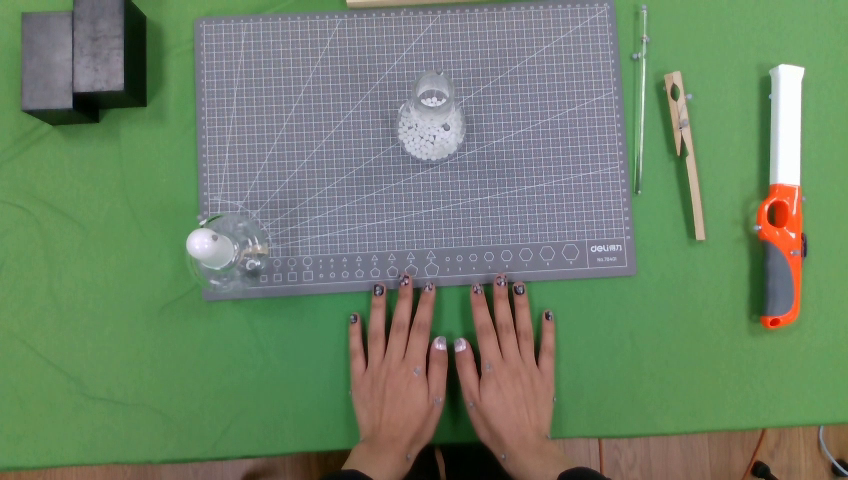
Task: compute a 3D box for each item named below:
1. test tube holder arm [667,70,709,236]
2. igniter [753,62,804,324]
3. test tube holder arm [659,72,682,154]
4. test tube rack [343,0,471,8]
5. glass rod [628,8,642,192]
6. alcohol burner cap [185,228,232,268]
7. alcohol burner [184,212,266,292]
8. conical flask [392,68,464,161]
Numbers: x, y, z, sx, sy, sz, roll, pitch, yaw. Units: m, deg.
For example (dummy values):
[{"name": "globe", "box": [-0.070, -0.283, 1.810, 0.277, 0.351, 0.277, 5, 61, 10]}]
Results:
[{"name": "test tube holder arm", "box": [0.277, -0.092, 0.638, 0.013, 0.015, 0.178, -14, 85, 34]}, {"name": "igniter", "box": [0.372, -0.050, 0.634, 0.057, 0.025, 0.276, 5, 85, -11]}, {"name": "test tube holder arm", "box": [0.264, -0.135, 0.644, 0.010, 0.015, 0.087, -13, 85, 34]}, {"name": "test tube rack", "box": [0.033, -0.295, 0.617, 0.242, 0.085, 0.066, -4, 85, -2]}, {"name": "glass rod", "box": [0.226, -0.150, 0.648, 0.008, 0.008, 0.199, 3, 88, -1]}, {"name": "alcohol burner cap", "box": [-0.193, 0.005, 0.535, 0.034, 0.048, 0.033, 0, 77, 0]}, {"name": "alcohol burner", "box": [-0.192, 0.010, 0.570, 0.078, 0.119, 0.077, 0, 84, 1]}, {"name": "conical flask", "box": [0.005, -0.124, 0.581, 0.075, 0.122, 0.075, 0, 85, -1]}]
